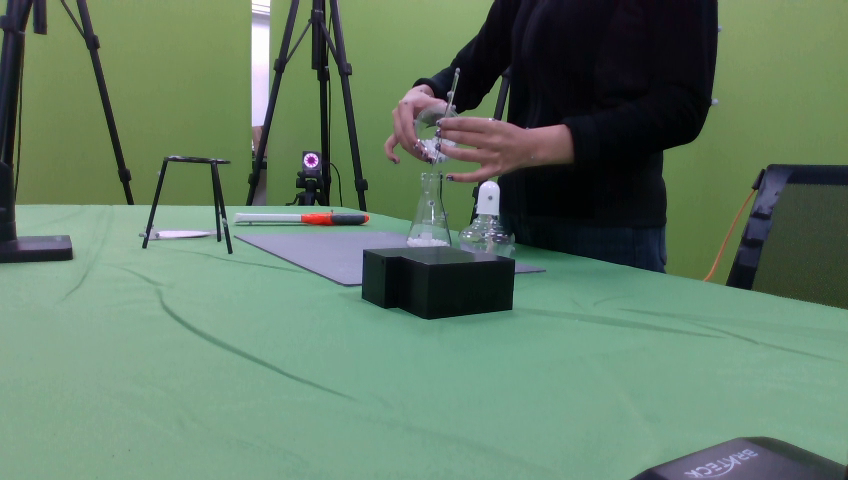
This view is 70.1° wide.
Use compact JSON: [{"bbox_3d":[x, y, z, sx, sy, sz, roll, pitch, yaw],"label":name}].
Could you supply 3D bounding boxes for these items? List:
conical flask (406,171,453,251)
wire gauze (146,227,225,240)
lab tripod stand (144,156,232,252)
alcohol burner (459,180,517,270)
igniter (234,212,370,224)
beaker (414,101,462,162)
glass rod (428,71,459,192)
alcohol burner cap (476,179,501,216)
[{"bbox_3d":[0.011,-0.046,0.948,0.075,0.122,0.075,2,7,0],"label":"conical flask"},{"bbox_3d":[-0.400,-0.012,1.019,0.122,0.011,0.124,-1,6,-26],"label":"wire gauze"},{"bbox_3d":[-0.325,-0.054,0.881,0.148,0.131,0.148,4,7,0],"label":"lab tripod stand"},{"bbox_3d":[0.086,-0.021,0.805,0.078,0.119,0.078,3,9,0],"label":"alcohol burner"},{"bbox_3d":[-0.247,-0.046,1.253,0.278,0.025,0.057,-1,-3,-27],"label":"igniter"},{"bbox_3d":[0.022,-0.167,0.971,0.074,0.084,0.100,6,-5,2],"label":"beaker"},{"bbox_3d":[0.027,-0.155,0.896,0.008,0.199,0.008,9,35,-6],"label":"glass rod"},{"bbox_3d":[0.086,-0.057,0.801,0.034,0.048,0.034,4,3,0],"label":"alcohol burner cap"}]
